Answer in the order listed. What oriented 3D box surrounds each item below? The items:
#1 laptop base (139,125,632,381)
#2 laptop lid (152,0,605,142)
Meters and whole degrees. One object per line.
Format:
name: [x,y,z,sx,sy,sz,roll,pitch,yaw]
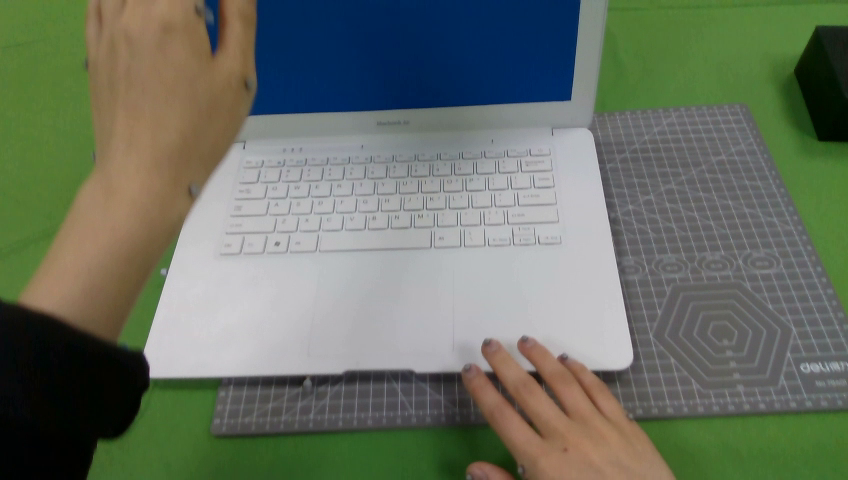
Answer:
laptop base: [-0.030,0.003,0.492,0.354,0.023,0.233,-2,57,4]
laptop lid: [-0.036,-0.178,0.477,0.356,0.244,0.013,-3,45,5]
